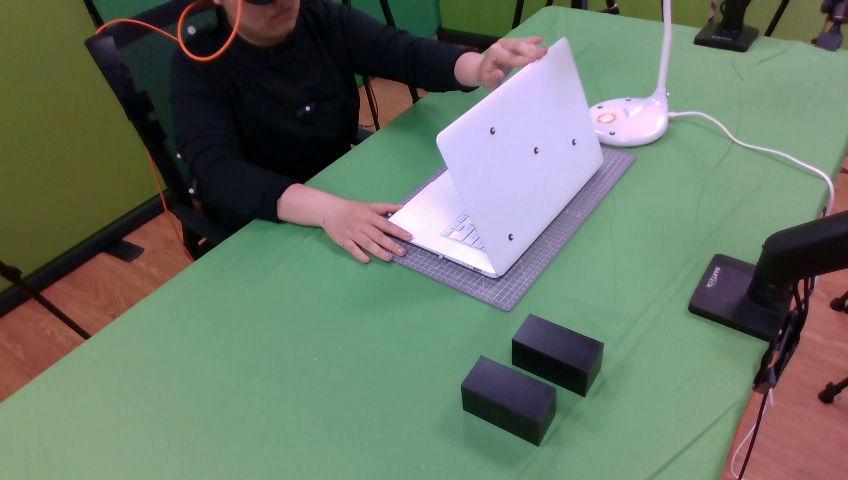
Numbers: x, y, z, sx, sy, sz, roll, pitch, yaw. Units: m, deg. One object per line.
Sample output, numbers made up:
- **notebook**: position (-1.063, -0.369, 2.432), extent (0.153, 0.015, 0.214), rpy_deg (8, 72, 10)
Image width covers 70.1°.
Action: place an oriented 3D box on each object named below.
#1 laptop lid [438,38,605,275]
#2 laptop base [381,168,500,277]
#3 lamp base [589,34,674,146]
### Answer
- **laptop lid**: position (0.170, -0.138, 0.930), extent (0.013, 0.243, 0.358), rpy_deg (2, 34, 46)
- **laptop base**: position (0.123, -0.077, 1.042), extent (0.233, 0.023, 0.355), rpy_deg (20, 48, 33)
- **lamp base**: position (0.393, -0.291, 1.129), extent (0.180, 0.181, 0.159), rpy_deg (-11, 41, -8)
